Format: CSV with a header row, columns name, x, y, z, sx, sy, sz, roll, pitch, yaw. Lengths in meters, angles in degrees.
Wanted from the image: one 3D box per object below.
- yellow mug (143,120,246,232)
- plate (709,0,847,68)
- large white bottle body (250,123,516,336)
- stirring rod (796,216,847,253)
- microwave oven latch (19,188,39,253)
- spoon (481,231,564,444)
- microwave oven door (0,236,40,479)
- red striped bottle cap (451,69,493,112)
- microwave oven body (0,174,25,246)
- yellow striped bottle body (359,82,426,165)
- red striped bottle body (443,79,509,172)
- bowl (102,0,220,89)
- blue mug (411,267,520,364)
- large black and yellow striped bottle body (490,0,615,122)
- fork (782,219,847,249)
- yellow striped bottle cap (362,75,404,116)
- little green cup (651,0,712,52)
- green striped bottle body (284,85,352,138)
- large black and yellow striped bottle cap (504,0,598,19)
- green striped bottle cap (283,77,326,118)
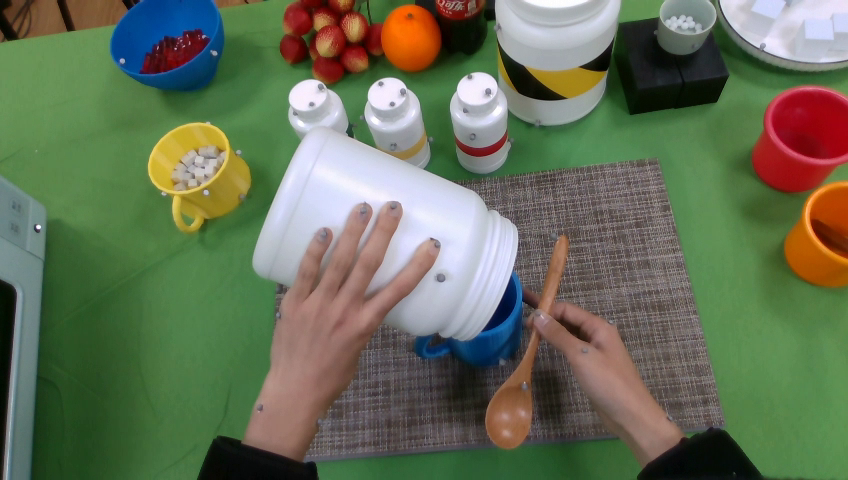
name,x,y,z,sx,sy,sz,roll,pitch,yaw
yellow mug,-0.279,-0.072,0.731,0.100,0.064,0.130,3,67,9
plate,0.457,-0.291,0.743,0.209,0.038,0.207,-3,66,7
large white bottle body,-0.031,-0.002,0.492,0.185,0.131,0.130,22,68,-10
stirring rod,0.397,0.009,0.560,0.014,0.006,0.175,-4,22,4
microwave oven latch,-0.486,-0.021,0.730,0.030,0.030,0.078,-13,65,2
spoon,0.094,0.085,0.535,0.041,0.021,0.193,18,93,0
microwave oven door,-0.453,0.129,0.546,0.039,0.246,0.352,-15,64,2
red striped bottle cap,0.051,-0.157,0.635,0.044,0.018,0.044,-1,64,3
microwave oven body,-0.603,0.131,0.571,0.326,0.262,0.437,-15,65,1
yellow striped bottle body,-0.036,-0.134,0.695,0.063,0.121,0.062,-3,65,7
red striped bottle body,0.059,-0.134,0.683,0.063,0.121,0.062,-6,61,12
bowl,-0.337,-0.259,0.817,0.151,0.077,0.150,-3,65,6
blue mug,0.038,0.077,0.591,0.116,0.107,0.081,-33,65,-8
large black and yellow striped bottle body,0.141,-0.236,0.681,0.130,0.185,0.129,-3,65,7
fork,0.426,0.007,0.549,0.028,0.019,0.206,-42,23,-11
yellow striped bottle cap,-0.044,-0.155,0.648,0.044,0.019,0.044,-1,62,3
little green cup,0.290,-0.247,0.690,0.061,0.039,0.061,-2,63,4
green striped bottle body,-0.122,-0.134,0.707,0.063,0.120,0.062,-3,65,6
large black and yellow striped bottle cap,0.129,-0.271,0.603,0.115,0.019,0.114,-4,67,10
green striped bottle cap,-0.130,-0.156,0.660,0.044,0.020,0.044,-2,64,5
